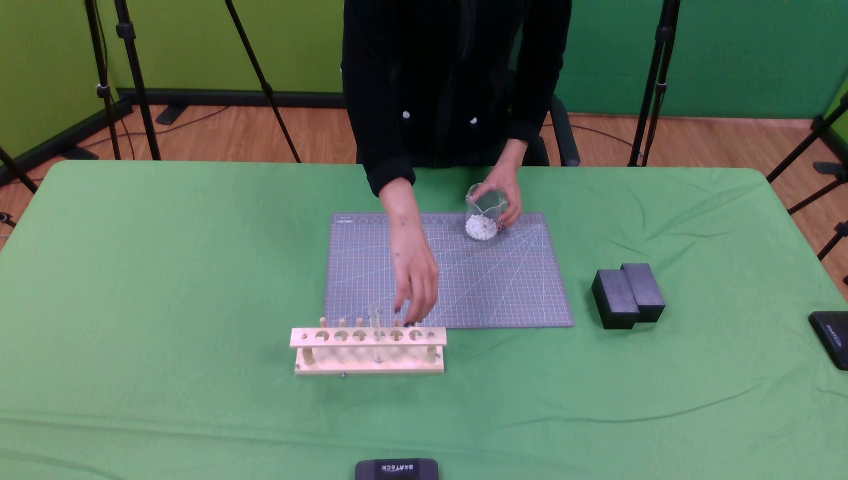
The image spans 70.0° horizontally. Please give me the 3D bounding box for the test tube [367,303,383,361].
[{"bbox_3d":[-0.075,0.146,0.941,0.017,0.151,0.017,0,49,0],"label":"test tube"}]

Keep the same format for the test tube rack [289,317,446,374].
[{"bbox_3d":[-0.089,0.167,0.987,0.242,0.085,0.066,0,46,-4],"label":"test tube rack"}]

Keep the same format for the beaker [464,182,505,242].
[{"bbox_3d":[0.116,-0.051,1.202,0.074,0.101,0.083,10,47,6],"label":"beaker"}]

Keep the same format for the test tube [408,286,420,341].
[{"bbox_3d":[-0.017,0.123,0.974,0.017,0.151,0.017,2,48,-2],"label":"test tube"}]
